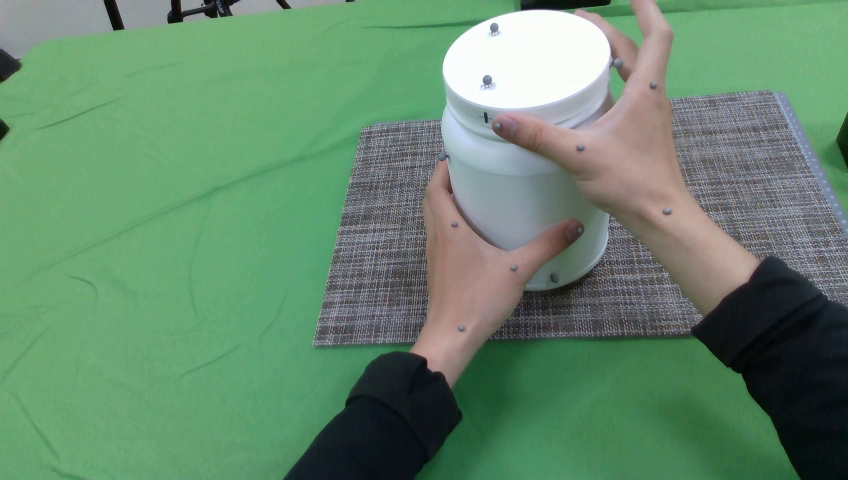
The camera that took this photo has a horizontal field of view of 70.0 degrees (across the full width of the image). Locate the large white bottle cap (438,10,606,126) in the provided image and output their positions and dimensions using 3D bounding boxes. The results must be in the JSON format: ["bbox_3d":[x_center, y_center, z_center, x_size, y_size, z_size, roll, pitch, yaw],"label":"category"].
[{"bbox_3d":[0.067,-0.122,0.421,0.114,0.018,0.113,-7,49,9],"label":"large white bottle cap"}]

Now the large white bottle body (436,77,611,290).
[{"bbox_3d":[0.082,-0.062,0.487,0.130,0.186,0.129,-7,47,8],"label":"large white bottle body"}]
